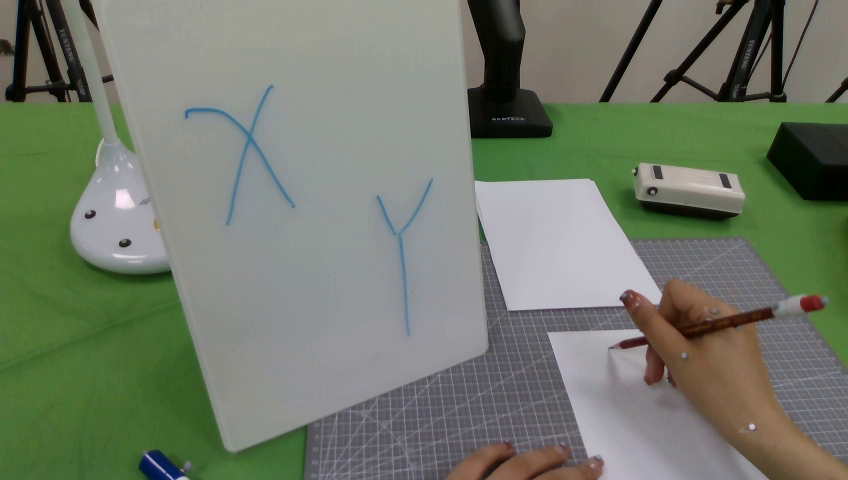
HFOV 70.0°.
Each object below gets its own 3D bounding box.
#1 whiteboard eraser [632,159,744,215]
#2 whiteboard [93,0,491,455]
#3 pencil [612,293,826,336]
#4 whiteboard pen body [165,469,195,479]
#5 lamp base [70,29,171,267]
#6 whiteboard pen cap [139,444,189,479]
[{"bbox_3d":[0.295,-0.059,0.684,0.112,0.042,0.055,9,41,6],"label":"whiteboard eraser"},{"bbox_3d":[-0.086,-0.038,0.463,0.218,0.307,0.142,-16,24,-22],"label":"whiteboard"},{"bbox_3d":[0.194,0.058,0.433,0.012,0.194,0.012,5,74,-19],"label":"pencil"},{"bbox_3d":[-0.127,0.175,0.380,0.140,0.017,0.017,26,44,25],"label":"whiteboard pen body"},{"bbox_3d":[-0.272,-0.092,0.565,0.178,0.182,0.160,25,44,27],"label":"lamp base"},{"bbox_3d":[-0.174,0.151,0.406,0.033,0.018,0.018,25,44,27],"label":"whiteboard pen cap"}]
